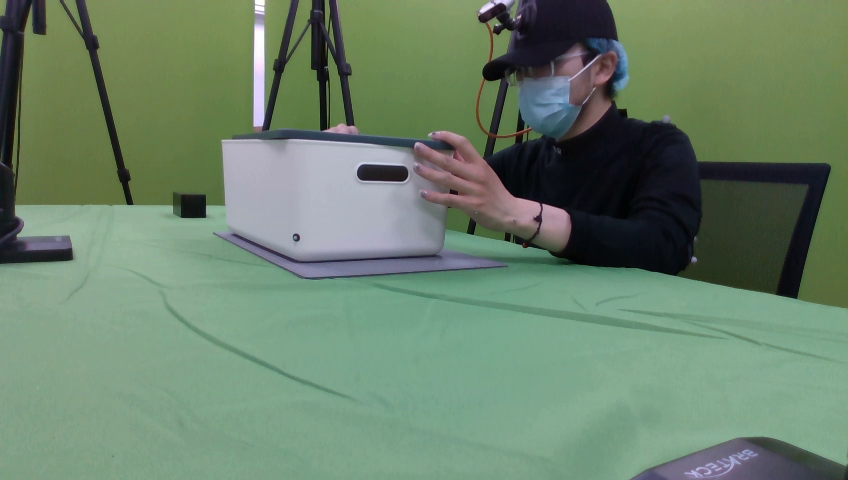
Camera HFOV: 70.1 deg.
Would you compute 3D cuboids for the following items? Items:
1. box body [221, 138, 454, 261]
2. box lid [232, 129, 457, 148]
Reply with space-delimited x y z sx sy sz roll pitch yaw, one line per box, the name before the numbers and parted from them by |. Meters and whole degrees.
box body | -0.152 -0.074 0.963 0.255 0.160 0.362 -3 9 -32
box lid | -0.140 -0.155 0.954 0.265 0.015 0.369 -2 8 -28
